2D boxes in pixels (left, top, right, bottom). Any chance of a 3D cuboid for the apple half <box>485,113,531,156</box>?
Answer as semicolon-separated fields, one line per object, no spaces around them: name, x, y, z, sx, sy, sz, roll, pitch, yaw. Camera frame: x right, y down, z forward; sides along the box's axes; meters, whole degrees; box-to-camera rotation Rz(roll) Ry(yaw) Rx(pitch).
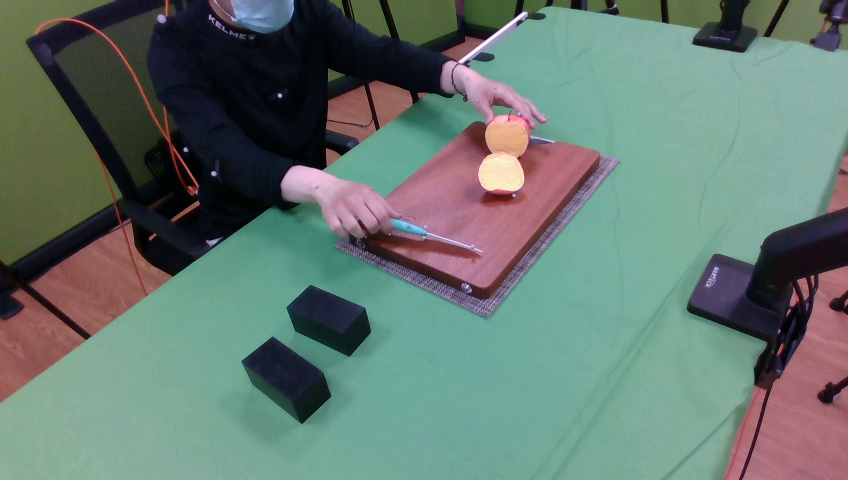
apple half;0.154;-0.192;1.085;0.080;0.075;0.053;3;35;21

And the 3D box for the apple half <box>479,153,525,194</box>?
apple half;0.130;-0.108;1.016;0.081;0.033;0.081;0;66;2

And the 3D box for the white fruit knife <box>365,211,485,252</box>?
white fruit knife;-0.002;-0.012;0.931;0.206;0.027;0.016;17;77;18
